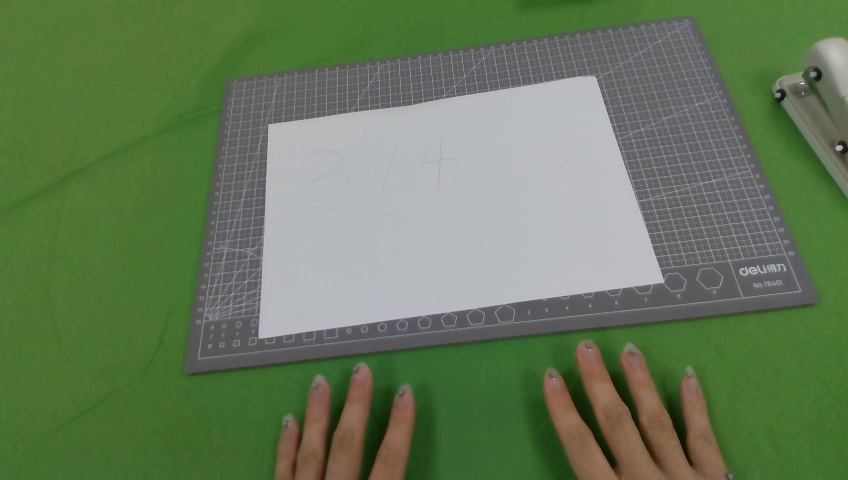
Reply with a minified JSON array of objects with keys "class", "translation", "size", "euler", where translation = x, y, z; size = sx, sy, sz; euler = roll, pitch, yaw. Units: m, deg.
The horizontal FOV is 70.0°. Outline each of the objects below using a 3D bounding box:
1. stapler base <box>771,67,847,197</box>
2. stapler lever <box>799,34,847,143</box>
[{"class":"stapler base","translation":[0.323,-0.094,0.476],"size":[0.041,0.024,0.129],"euler":[-15,61,2]},{"class":"stapler lever","translation":[0.321,-0.105,0.453],"size":[0.027,0.040,0.117],"euler":[-15,61,2]}]
